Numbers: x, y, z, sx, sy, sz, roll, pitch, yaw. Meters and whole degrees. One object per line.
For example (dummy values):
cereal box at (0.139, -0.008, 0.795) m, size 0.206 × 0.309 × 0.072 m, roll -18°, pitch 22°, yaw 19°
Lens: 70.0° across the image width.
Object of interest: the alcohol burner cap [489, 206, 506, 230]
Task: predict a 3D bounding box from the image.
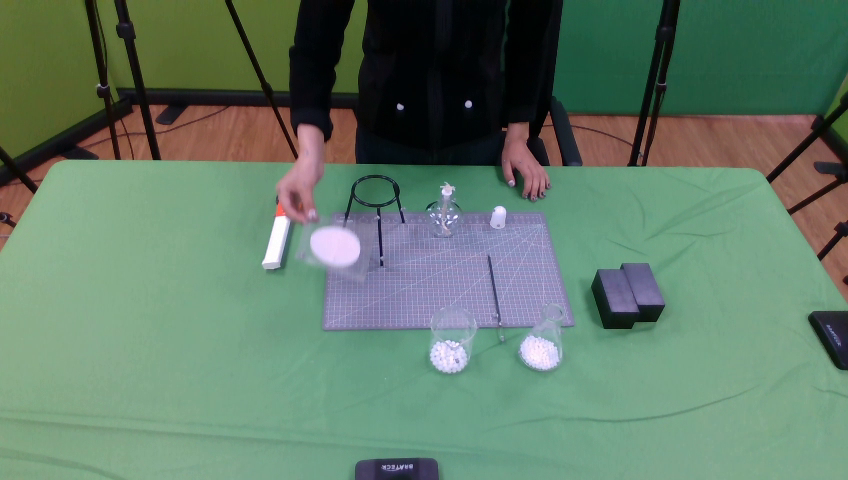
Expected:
alcohol burner cap at (0.152, -0.047, 1.241) m, size 0.034 × 0.048 × 0.033 m, roll 2°, pitch 45°, yaw -2°

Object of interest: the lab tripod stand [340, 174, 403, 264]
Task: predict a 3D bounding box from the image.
lab tripod stand at (-0.093, -0.050, 1.160) m, size 0.148 × 0.132 × 0.147 m, roll 2°, pitch 44°, yaw -2°

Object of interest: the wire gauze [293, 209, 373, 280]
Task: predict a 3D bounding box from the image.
wire gauze at (-0.152, 0.004, 1.027) m, size 0.125 × 0.011 × 0.121 m, roll 16°, pitch 45°, yaw -10°

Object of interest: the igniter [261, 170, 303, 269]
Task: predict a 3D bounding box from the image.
igniter at (-0.284, -0.050, 1.222) m, size 0.057 × 0.025 × 0.275 m, roll -4°, pitch 46°, yaw 7°

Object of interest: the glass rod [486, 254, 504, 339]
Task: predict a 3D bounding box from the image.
glass rod at (0.130, 0.099, 1.119) m, size 0.008 × 0.008 × 0.198 m, roll -1°, pitch 46°, yaw -4°

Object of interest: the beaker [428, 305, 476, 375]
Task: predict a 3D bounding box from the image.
beaker at (0.044, 0.169, 0.987) m, size 0.074 × 0.101 × 0.083 m, roll 1°, pitch 47°, yaw -3°

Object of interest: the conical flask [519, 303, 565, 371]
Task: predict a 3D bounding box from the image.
conical flask at (0.201, 0.155, 0.997) m, size 0.075 × 0.122 × 0.075 m, roll 2°, pitch 46°, yaw -2°

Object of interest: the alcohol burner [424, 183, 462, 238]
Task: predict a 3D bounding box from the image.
alcohol burner at (0.039, -0.063, 1.197) m, size 0.078 × 0.119 × 0.077 m, roll 2°, pitch 44°, yaw -2°
